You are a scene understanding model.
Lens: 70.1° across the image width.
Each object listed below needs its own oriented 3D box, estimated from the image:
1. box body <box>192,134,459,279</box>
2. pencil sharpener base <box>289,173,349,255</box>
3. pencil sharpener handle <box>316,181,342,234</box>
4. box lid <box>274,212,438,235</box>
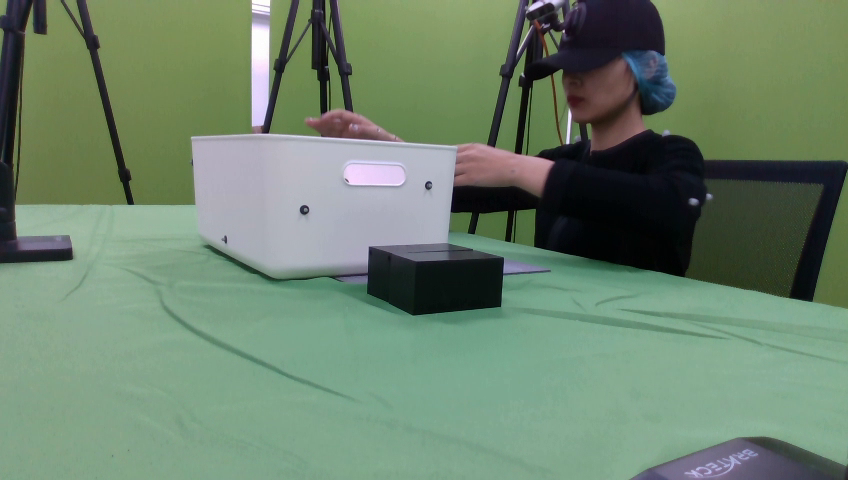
[{"bbox_3d":[-0.154,-0.059,0.840,0.255,0.160,0.362,-2,9,-33],"label":"box body"},{"bbox_3d":[-0.145,-0.037,0.832,0.062,0.107,0.076,-1,8,-31],"label":"pencil sharpener base"},{"bbox_3d":[-0.119,-0.042,0.787,0.036,0.067,0.030,2,7,-31],"label":"pencil sharpener handle"},{"bbox_3d":[-0.156,-0.037,1.283,0.264,0.015,0.370,-1,7,-25],"label":"box lid"}]
